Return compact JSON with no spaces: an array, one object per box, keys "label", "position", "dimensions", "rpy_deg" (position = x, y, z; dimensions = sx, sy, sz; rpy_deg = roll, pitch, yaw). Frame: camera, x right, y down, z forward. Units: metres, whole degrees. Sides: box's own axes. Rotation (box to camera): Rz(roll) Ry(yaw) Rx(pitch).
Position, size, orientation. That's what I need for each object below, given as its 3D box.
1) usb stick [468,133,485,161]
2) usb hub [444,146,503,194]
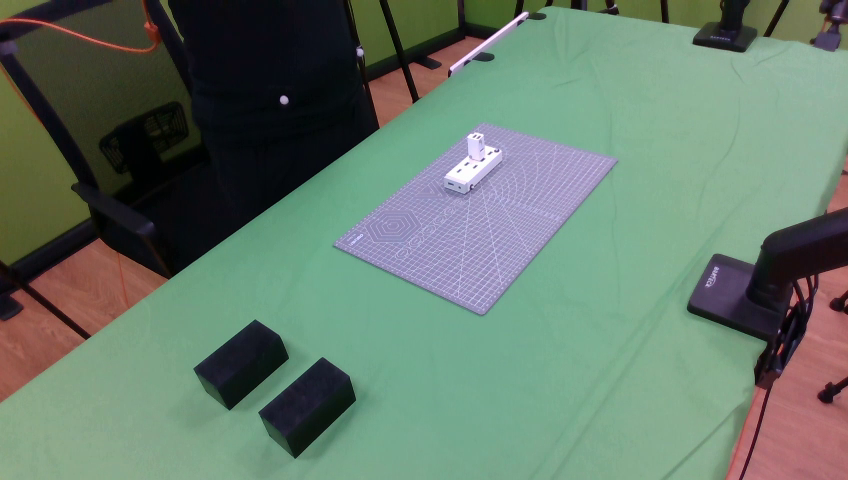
[{"label":"usb stick","position":[0.095,-0.162,1.096],"dimensions":[0.027,0.059,0.021],"rpy_deg":[21,48,27]},{"label":"usb hub","position":[0.091,-0.129,1.102],"dimensions":[0.049,0.025,0.125],"rpy_deg":[23,49,30]}]
